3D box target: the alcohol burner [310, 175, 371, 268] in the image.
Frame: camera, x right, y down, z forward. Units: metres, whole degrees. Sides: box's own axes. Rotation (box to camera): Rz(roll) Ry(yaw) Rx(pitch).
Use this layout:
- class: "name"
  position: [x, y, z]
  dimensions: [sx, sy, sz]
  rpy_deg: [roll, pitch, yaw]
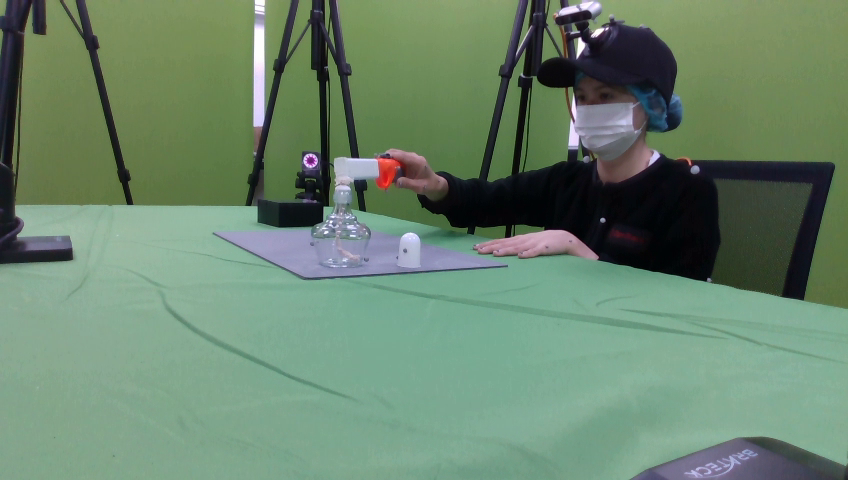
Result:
- class: "alcohol burner"
  position: [-0.107, -0.024, 0.778]
  dimensions: [0.078, 0.119, 0.078]
  rpy_deg: [3, 5, 0]

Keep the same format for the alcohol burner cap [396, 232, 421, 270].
- class: "alcohol burner cap"
  position: [-0.020, 0.014, 0.795]
  dimensions: [0.034, 0.048, 0.034]
  rpy_deg: [2, 6, 0]

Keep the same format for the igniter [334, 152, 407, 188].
- class: "igniter"
  position: [-0.074, -0.107, 0.920]
  dimensions: [0.025, 0.057, 0.277]
  rpy_deg: [-2, 5, 15]
